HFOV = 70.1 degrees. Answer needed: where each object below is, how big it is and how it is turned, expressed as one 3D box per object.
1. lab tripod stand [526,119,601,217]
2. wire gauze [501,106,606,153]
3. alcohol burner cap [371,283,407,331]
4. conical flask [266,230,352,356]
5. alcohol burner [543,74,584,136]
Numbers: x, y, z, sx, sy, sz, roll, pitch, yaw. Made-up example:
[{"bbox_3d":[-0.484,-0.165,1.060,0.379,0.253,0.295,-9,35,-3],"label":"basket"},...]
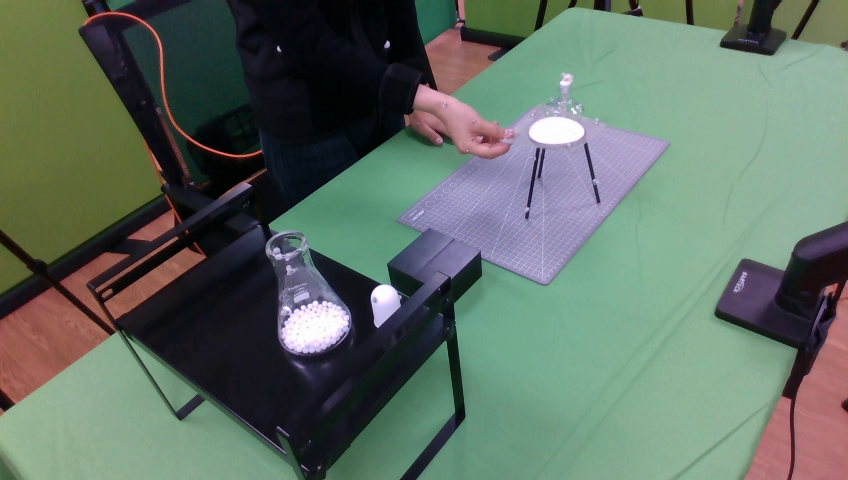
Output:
[{"bbox_3d":[0.221,-0.121,0.994,0.148,0.132,0.147,-3,39,3],"label":"lab tripod stand"},{"bbox_3d":[0.206,-0.173,0.951,0.120,0.011,0.125,22,46,31],"label":"wire gauze"},{"bbox_3d":[-0.037,0.065,0.608,0.034,0.048,0.033,-5,39,5],"label":"alcohol burner cap"},{"bbox_3d":[-0.116,0.047,0.580,0.075,0.122,0.075,-5,40,4],"label":"conical flask"},{"bbox_3d":[0.270,-0.263,1.169,0.078,0.119,0.077,-5,39,5],"label":"alcohol burner"}]
